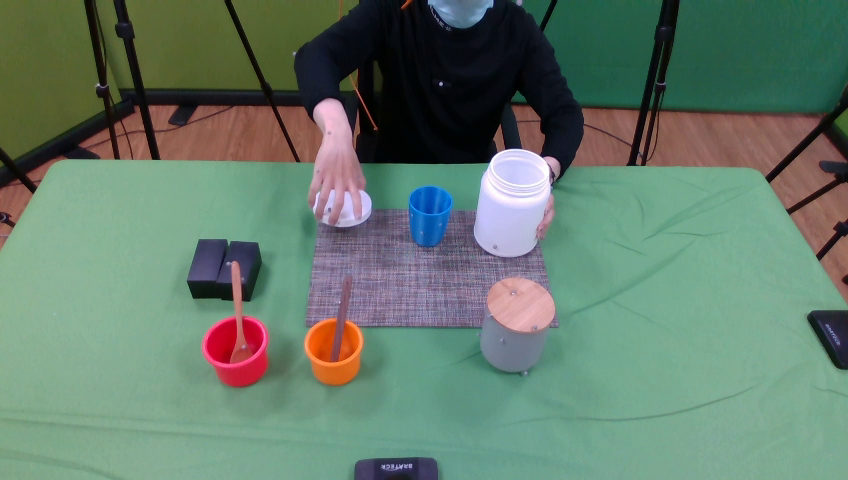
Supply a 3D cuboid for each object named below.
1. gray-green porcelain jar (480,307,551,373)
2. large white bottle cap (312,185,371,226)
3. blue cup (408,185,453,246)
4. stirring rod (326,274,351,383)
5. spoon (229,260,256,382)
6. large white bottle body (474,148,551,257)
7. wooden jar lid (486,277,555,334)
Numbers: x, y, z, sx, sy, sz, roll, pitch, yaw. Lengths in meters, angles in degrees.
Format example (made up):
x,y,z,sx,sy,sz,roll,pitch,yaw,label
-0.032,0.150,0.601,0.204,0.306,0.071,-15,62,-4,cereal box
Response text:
x,y,z,sx,sy,sz,roll,pitch,yaw,label
0.148,0.148,0.992,0.106,0.127,0.105,2,46,-2,gray-green porcelain jar
-0.162,-0.069,1.190,0.115,0.018,0.114,4,41,-3,large white bottle cap
0.008,-0.042,1.177,0.093,0.101,0.092,3,47,-3,blue cup
-0.137,0.142,0.971,0.014,0.006,0.176,9,89,1,stirring rod
-0.294,0.129,0.966,0.042,0.021,0.193,-4,91,-9,spoon
0.169,-0.071,1.157,0.131,0.185,0.130,2,47,-2,large white bottle body
0.150,0.105,0.948,0.108,0.021,0.107,3,47,-3,wooden jar lid
